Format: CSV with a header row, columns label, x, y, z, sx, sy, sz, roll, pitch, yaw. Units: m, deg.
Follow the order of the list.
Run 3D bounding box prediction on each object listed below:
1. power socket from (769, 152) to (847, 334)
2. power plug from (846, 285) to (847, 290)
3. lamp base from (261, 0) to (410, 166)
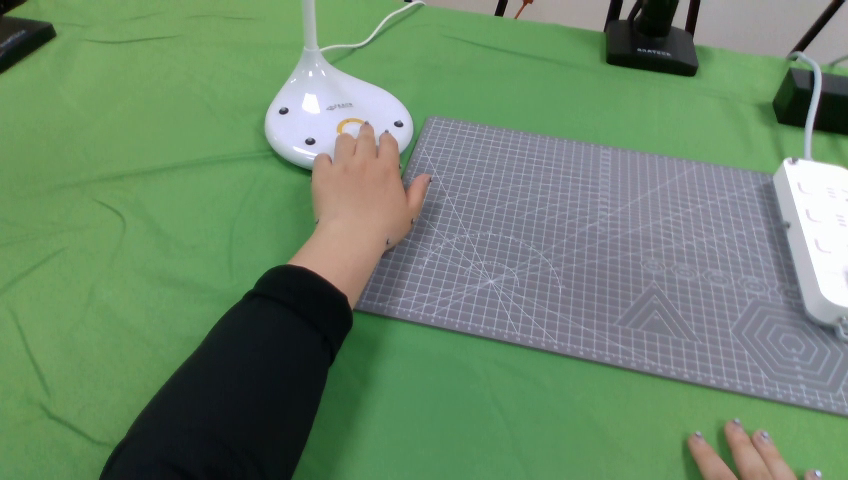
label,x,y,z,sx,sy,sz,roll,pitch,yaw
power socket,0.379,-0.008,0.569,0.072,0.033,0.225,13,45,7
power plug,0.391,0.032,0.498,0.072,0.053,0.035,21,47,14
lamp base,-0.099,-0.194,0.613,0.161,0.182,0.177,-27,50,-28
